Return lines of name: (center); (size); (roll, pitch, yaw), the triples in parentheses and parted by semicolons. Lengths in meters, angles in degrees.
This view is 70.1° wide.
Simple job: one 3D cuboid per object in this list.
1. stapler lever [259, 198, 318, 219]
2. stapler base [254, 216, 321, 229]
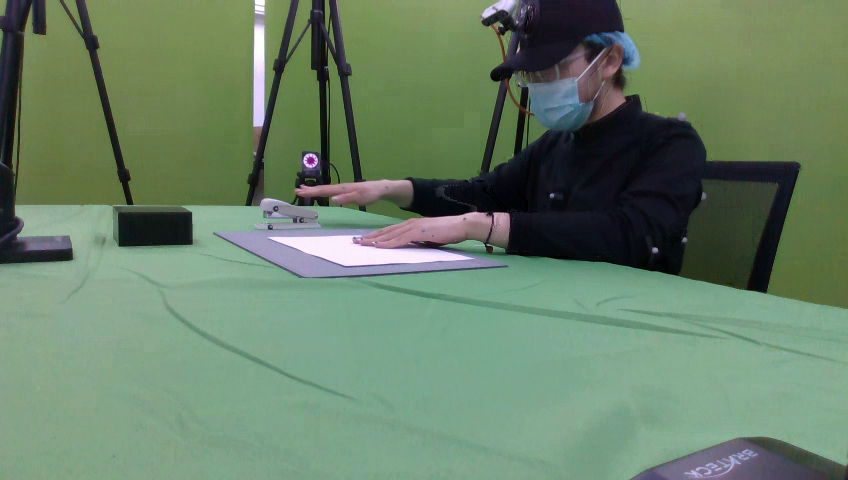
stapler lever: (-0.267, -0.061, 1.195); (0.119, 0.040, 0.026); (-1, 11, -40)
stapler base: (-0.269, -0.036, 1.197); (0.131, 0.024, 0.041); (-1, 11, -40)
